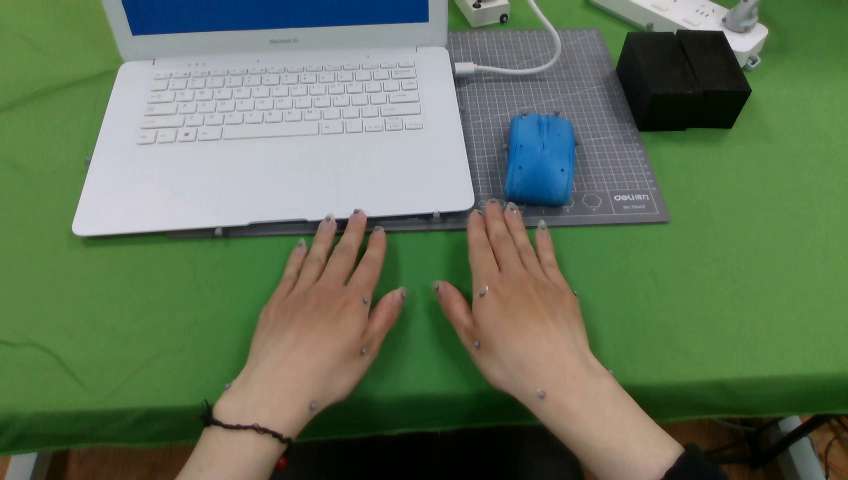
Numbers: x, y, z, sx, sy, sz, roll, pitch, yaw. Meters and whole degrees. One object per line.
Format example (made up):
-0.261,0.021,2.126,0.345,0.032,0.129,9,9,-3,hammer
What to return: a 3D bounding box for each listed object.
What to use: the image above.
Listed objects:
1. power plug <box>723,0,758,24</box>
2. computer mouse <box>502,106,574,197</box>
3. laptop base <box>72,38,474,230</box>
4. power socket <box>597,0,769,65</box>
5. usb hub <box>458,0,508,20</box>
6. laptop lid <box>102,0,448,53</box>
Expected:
0.371,-0.266,0.688,0.072,0.053,0.035,-30,59,-19,power plug
0.109,-0.090,0.573,0.063,0.041,0.116,7,49,7,computer mouse
-0.139,-0.112,0.599,0.355,0.023,0.233,-4,57,-4,laptop base
0.298,-0.278,0.723,0.225,0.033,0.072,39,61,24,power socket
0.057,-0.321,0.752,0.049,0.025,0.124,-16,55,-13,usb hub
-0.152,-0.298,0.590,0.357,0.244,0.013,-5,41,-3,laptop lid
